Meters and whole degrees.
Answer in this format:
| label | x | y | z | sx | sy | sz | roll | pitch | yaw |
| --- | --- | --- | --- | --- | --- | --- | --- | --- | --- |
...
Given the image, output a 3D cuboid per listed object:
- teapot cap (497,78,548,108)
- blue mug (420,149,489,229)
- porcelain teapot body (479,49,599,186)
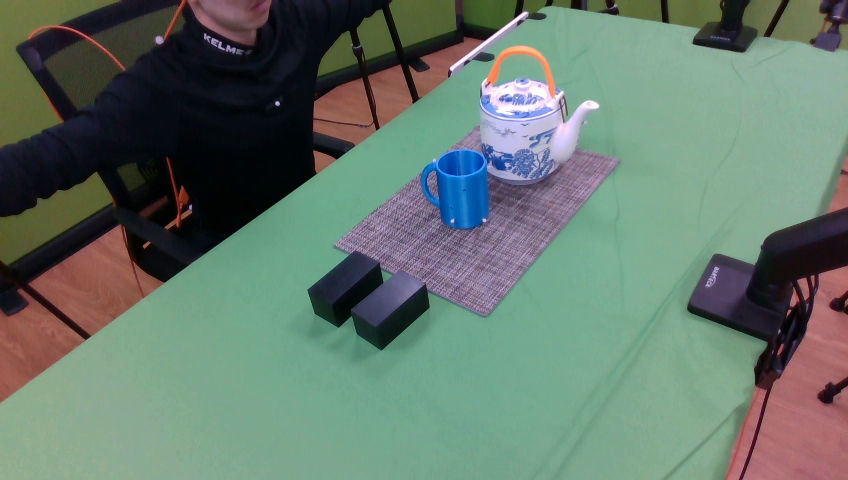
| label | x | y | z | sx | sy | sz | roll | pitch | yaw |
| --- | --- | --- | --- | --- | --- | --- | --- | --- | --- |
| teapot cap | 0.164 | -0.246 | 1.009 | 0.085 | 0.044 | 0.084 | -4 | 44 | 4 |
| blue mug | 0.048 | -0.085 | 0.991 | 0.116 | 0.106 | 0.082 | 9 | 43 | 19 |
| porcelain teapot body | 0.192 | -0.208 | 1.023 | 0.204 | 0.226 | 0.145 | 16 | 46 | 25 |
